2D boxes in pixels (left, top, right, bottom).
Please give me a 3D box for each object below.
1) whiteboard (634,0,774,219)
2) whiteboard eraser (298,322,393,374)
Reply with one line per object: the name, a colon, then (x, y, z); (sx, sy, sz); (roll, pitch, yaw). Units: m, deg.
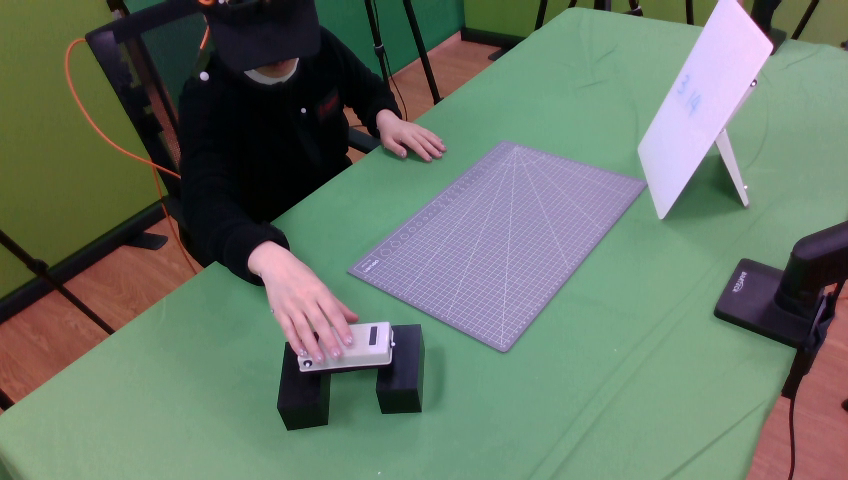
whiteboard: (0.485, -0.192, 0.957); (0.144, 0.305, 0.216); (14, 41, -4)
whiteboard eraser: (-0.094, 0.134, 0.740); (0.113, 0.042, 0.055); (-5, 41, 3)
